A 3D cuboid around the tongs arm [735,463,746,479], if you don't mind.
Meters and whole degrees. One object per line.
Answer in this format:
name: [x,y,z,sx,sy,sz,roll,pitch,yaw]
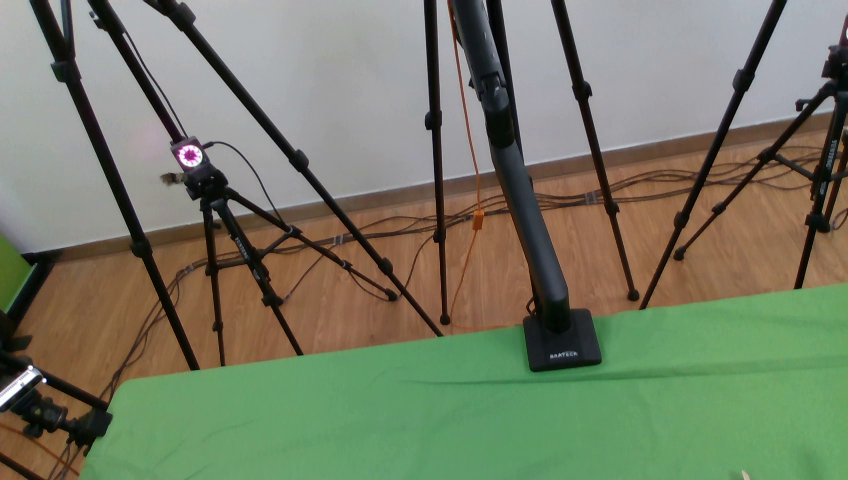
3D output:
tongs arm: [0.435,0.440,0.689,0.028,0.028,0.383,-29,38,24]
